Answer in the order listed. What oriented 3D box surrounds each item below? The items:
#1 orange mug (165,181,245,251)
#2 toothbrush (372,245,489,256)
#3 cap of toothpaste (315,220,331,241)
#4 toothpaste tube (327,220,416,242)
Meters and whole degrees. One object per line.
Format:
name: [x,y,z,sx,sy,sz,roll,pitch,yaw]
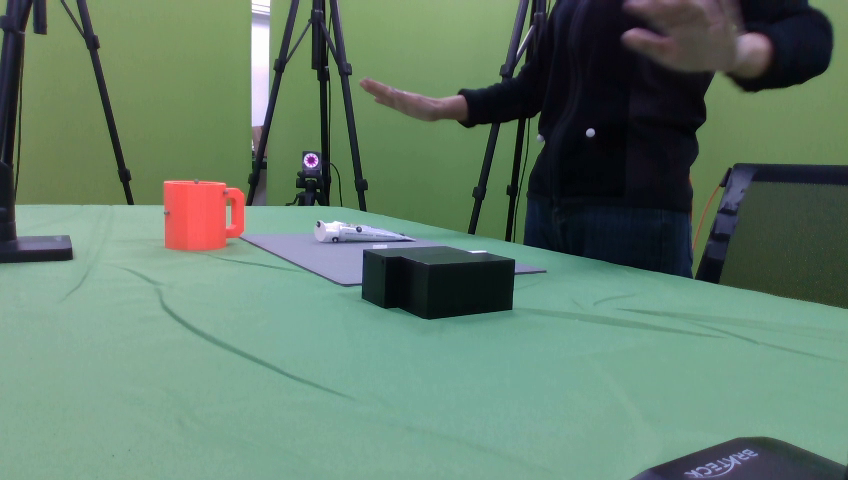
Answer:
orange mug: [-0.326,-0.040,0.911,0.083,0.101,0.127,8,14,37]
toothbrush: [0.012,0.016,0.874,0.183,0.016,0.014,1,-7,-22]
cap of toothpaste: [-0.164,-0.016,0.982,0.011,0.037,0.037,-8,12,-43]
toothpaste tube: [-0.095,-0.012,1.026,0.166,0.034,0.055,2,13,-33]
